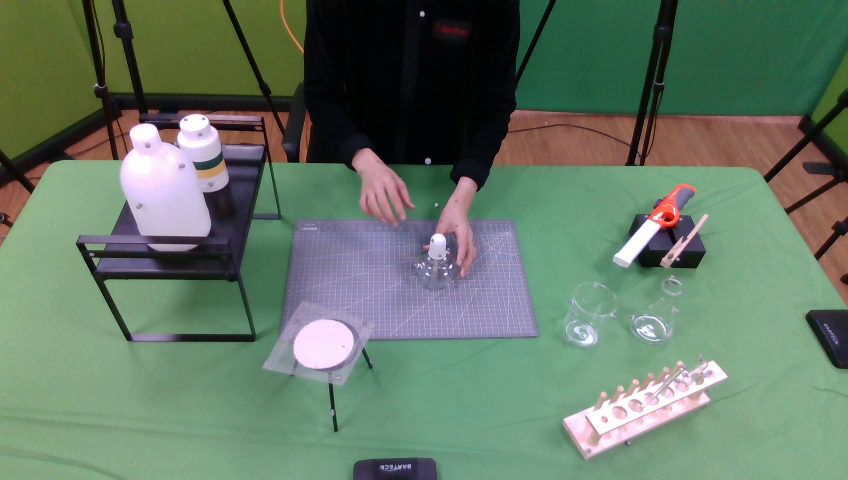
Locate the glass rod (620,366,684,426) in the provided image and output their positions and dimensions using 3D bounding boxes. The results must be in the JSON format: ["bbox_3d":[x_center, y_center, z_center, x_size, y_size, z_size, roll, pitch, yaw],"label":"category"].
[{"bbox_3d":[0.322,0.227,0.866,0.008,0.200,0.008,5,51,-7],"label":"glass rod"}]

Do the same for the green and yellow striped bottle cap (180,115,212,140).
[{"bbox_3d":[-0.358,-0.177,0.951,0.045,0.020,0.045,1,45,-1],"label":"green and yellow striped bottle cap"}]

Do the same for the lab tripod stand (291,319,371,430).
[{"bbox_3d":[-0.146,0.193,0.923,0.148,0.132,0.147,1,47,-1],"label":"lab tripod stand"}]

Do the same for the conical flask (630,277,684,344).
[{"bbox_3d":[0.408,0.117,1.045,0.075,0.122,0.075,2,46,-2],"label":"conical flask"}]

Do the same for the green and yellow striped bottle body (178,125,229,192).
[{"bbox_3d":[-0.361,-0.142,0.989,0.063,0.120,0.063,2,46,-2],"label":"green and yellow striped bottle body"}]

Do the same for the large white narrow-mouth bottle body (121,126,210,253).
[{"bbox_3d":[-0.378,-0.077,0.875,0.102,0.195,0.101,3,46,-3],"label":"large white narrow-mouth bottle body"}]

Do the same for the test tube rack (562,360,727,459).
[{"bbox_3d":[0.341,0.247,0.940,0.243,0.085,0.066,-16,49,-19],"label":"test tube rack"}]

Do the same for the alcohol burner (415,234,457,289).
[{"bbox_3d":[0.022,0.033,1.099,0.078,0.120,0.077,1,47,-1],"label":"alcohol burner"}]

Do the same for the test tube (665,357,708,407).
[{"bbox_3d":[0.387,0.216,0.905,0.017,0.151,0.017,1,53,-1],"label":"test tube"}]

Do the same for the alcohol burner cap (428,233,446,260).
[{"bbox_3d":[0.024,0.009,1.072,0.034,0.048,0.033,1,47,-1],"label":"alcohol burner cap"}]

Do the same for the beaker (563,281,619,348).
[{"bbox_3d":[0.283,0.129,1.041,0.074,0.101,0.083,11,46,6],"label":"beaker"}]

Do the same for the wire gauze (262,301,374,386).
[{"bbox_3d":[-0.150,0.148,0.873,0.121,0.011,0.124,14,46,12],"label":"wire gauze"}]

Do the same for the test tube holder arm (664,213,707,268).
[{"bbox_3d":[0.507,-0.001,1.171,0.013,0.015,0.178,33,53,26],"label":"test tube holder arm"}]

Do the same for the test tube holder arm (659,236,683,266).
[{"bbox_3d":[0.472,0.020,1.149,0.010,0.015,0.088,34,54,27],"label":"test tube holder arm"}]

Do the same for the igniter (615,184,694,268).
[{"bbox_3d":[0.459,-0.035,1.197,0.057,0.025,0.276,32,55,27],"label":"igniter"}]

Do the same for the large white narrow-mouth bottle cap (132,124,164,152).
[{"bbox_3d":[-0.371,-0.137,0.813,0.038,0.024,0.037,3,46,-3],"label":"large white narrow-mouth bottle cap"}]
